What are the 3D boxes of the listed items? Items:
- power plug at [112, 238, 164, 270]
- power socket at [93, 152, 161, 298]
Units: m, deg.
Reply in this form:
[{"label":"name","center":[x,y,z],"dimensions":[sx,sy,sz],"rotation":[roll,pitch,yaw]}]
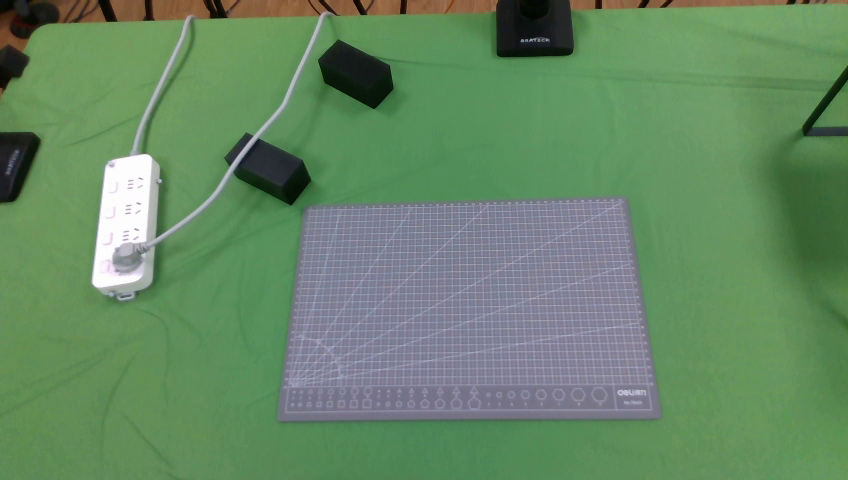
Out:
[{"label":"power plug","center":[-0.373,0.022,0.798],"dimensions":[0.072,0.053,0.035],"rotation":[1,63,2]},{"label":"power socket","center":[-0.412,-0.029,0.848],"dimensions":[0.072,0.033,0.224],"rotation":[-9,63,-1]}]
